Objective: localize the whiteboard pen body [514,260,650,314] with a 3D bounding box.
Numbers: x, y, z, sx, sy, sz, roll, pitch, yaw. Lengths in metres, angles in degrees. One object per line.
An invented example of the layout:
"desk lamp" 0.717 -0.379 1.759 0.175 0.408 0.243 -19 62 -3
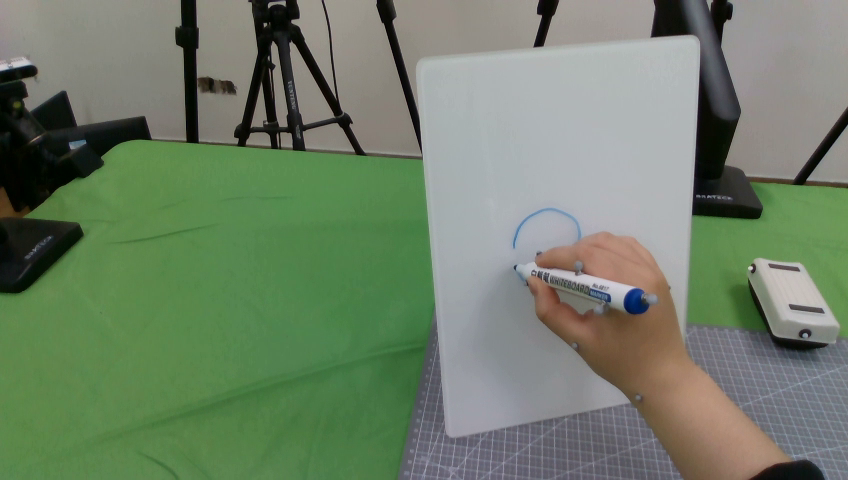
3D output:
"whiteboard pen body" 0.095 0.027 0.400 0.017 0.017 0.140 -15 12 -19

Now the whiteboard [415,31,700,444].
"whiteboard" 0.098 -0.012 0.532 0.218 0.307 0.143 -8 17 -10

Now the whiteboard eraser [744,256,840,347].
"whiteboard eraser" 0.364 0.061 0.607 0.055 0.042 0.112 5 32 10
